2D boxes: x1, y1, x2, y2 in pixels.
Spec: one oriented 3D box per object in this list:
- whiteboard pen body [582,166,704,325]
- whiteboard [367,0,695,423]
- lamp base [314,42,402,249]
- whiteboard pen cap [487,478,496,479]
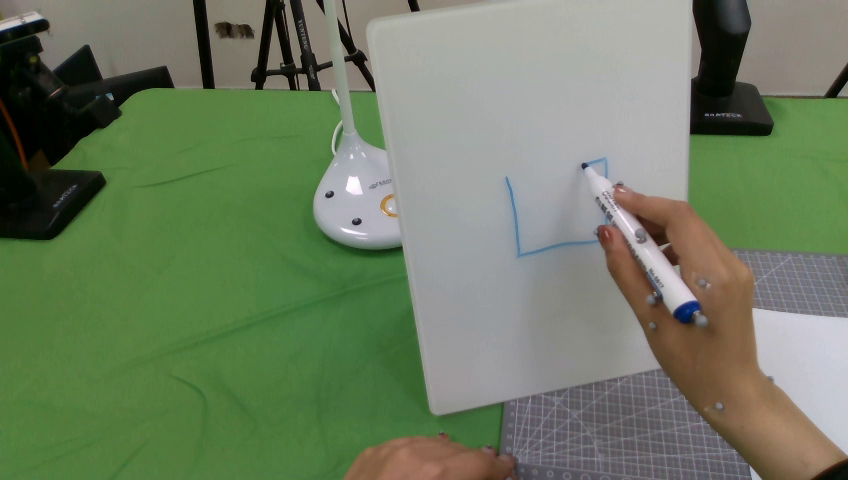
[{"bbox_3d":[0.131,-0.004,0.381,0.017,0.017,0.139,-13,47,-8],"label":"whiteboard pen body"},{"bbox_3d":[0.083,-0.037,0.500,0.217,0.307,0.142,-10,22,-4],"label":"whiteboard"},{"bbox_3d":[-0.060,-0.109,0.650,0.161,0.182,0.177,-30,44,-25],"label":"lamp base"},{"bbox_3d":[0.058,0.178,0.420,0.033,0.018,0.018,6,41,30],"label":"whiteboard pen cap"}]
